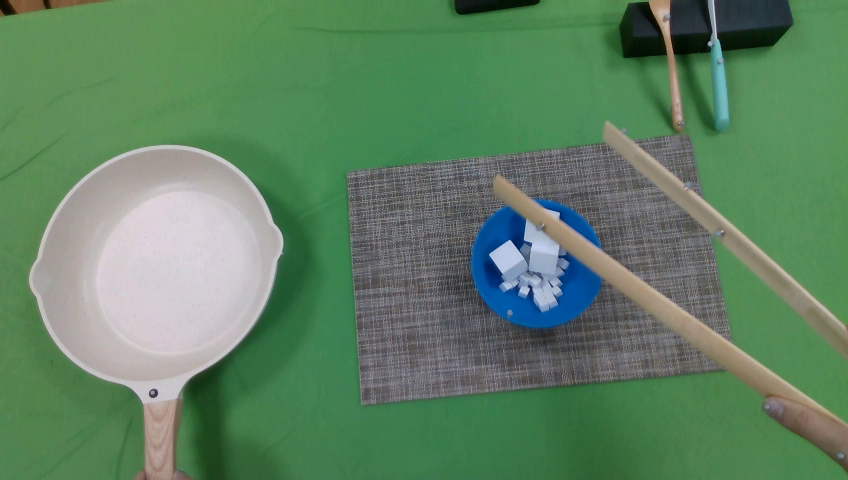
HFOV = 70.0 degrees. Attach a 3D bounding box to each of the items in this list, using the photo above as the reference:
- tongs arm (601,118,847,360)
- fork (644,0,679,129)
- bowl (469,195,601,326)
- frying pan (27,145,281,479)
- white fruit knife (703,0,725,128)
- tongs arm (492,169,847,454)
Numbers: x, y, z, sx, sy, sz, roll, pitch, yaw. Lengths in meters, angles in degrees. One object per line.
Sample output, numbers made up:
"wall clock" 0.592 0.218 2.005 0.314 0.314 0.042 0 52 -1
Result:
"tongs arm" 0.261 0.014 0.519 0.051 0.027 0.380 -22 52 -19
"fork" 0.305 -0.245 0.772 0.028 0.018 0.207 -13 97 -1
"bowl" 0.128 0.030 0.718 0.151 0.077 0.150 -1 77 3
"frying pan" -0.307 0.125 0.710 0.307 0.103 0.484 -8 68 2
"white fruit knife" 0.364 -0.248 0.769 0.016 0.027 0.207 -7 93 8
"tongs arm" 0.196 0.046 0.493 0.028 0.028 0.384 -31 55 -29
